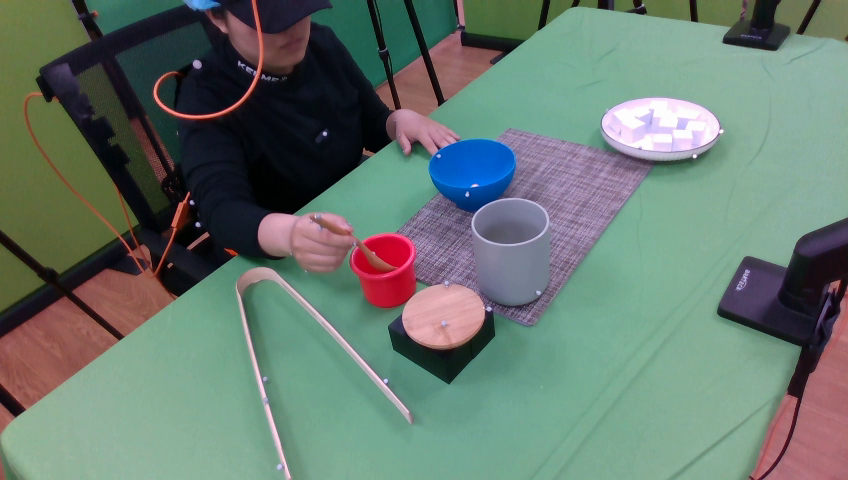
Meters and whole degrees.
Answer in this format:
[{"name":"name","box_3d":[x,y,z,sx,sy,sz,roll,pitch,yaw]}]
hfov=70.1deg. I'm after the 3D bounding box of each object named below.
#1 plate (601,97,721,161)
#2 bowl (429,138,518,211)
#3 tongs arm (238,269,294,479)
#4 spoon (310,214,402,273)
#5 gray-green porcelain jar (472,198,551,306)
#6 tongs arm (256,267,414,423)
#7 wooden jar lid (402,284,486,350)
[{"name":"plate","box_3d":[0.437,-0.203,1.126,0.209,0.038,0.208,-5,39,5]},{"name":"bowl","box_3d":[0.087,-0.104,1.043,0.151,0.077,0.150,-5,40,5]},{"name":"tongs arm","box_3d":[-0.208,0.163,0.824,0.051,0.026,0.381,-21,40,-15]},{"name":"spoon","box_3d":[-0.090,0.007,0.814,0.041,0.195,0.021,9,69,36]},{"name":"gray-green porcelain jar","box_3d":[0.125,0.021,0.850,0.106,0.127,0.105,-6,40,5]},{"name":"tongs arm","box_3d":[-0.137,0.133,0.853,0.028,0.028,0.384,-34,45,-23]},{"name":"wooden jar lid","box_3d":[0.026,0.101,0.786,0.108,0.021,0.108,-5,39,4]}]
